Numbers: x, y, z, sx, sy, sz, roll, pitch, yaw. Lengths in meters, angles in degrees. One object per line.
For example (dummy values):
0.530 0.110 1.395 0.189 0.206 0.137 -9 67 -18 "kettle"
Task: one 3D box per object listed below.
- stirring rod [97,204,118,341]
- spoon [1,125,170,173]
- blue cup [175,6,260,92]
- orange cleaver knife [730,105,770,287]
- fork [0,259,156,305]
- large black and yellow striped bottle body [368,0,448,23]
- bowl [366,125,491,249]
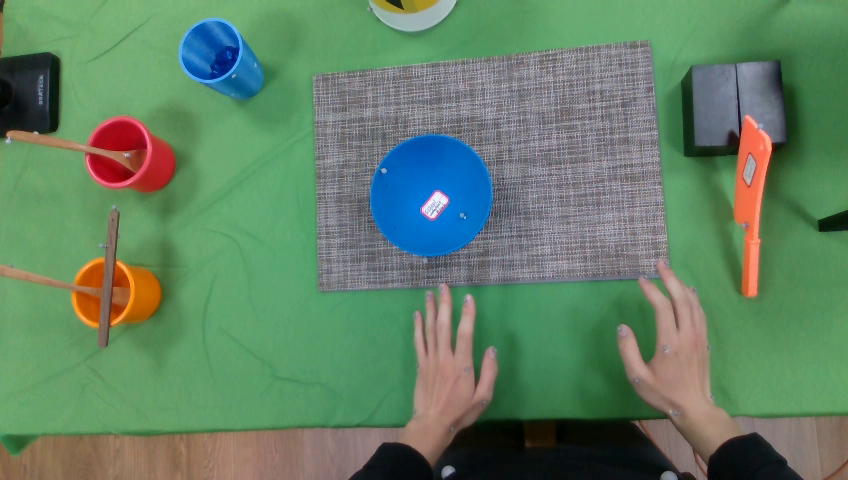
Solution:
-0.405 0.040 0.775 0.014 0.006 0.175 2 86 6 "stirring rod"
-0.441 -0.126 0.801 0.195 0.021 0.041 11 83 -34 "spoon"
-0.266 -0.242 0.807 0.092 0.100 0.092 0 86 7 "blue cup"
0.374 -0.048 0.706 0.012 0.076 0.213 -7 113 4 "orange cleaver knife"
-0.456 0.051 0.783 0.209 0.018 0.028 19 96 -34 "fork"
-0.032 -0.367 0.743 0.130 0.184 0.130 -1 84 8 "large black and yellow striped bottle body"
0.010 -0.060 0.758 0.151 0.077 0.151 -1 85 8 "bowl"
